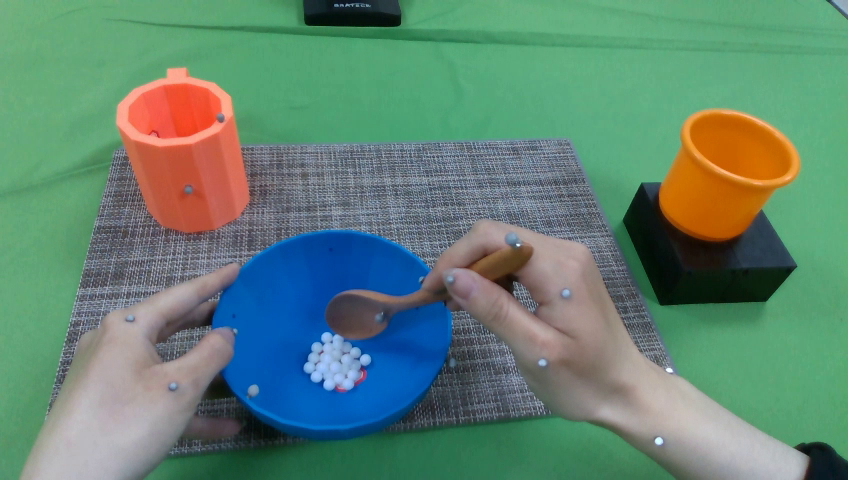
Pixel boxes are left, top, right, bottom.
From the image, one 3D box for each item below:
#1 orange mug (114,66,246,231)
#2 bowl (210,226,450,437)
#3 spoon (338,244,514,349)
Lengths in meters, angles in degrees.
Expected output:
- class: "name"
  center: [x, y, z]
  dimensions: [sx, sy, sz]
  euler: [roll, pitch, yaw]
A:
- class: "orange mug"
  center: [-0.202, -0.085, 0.512]
  dimensions: [0.084, 0.101, 0.125]
  euler: [-9, 56, -15]
- class: "bowl"
  center: [-0.061, 0.071, 0.412]
  dimensions: [0.151, 0.077, 0.150]
  euler: [4, 50, -4]
- class: "spoon"
  center: [-0.009, 0.034, 0.353]
  dimensions: [0.022, 0.194, 0.041]
  euler: [39, 59, -9]
